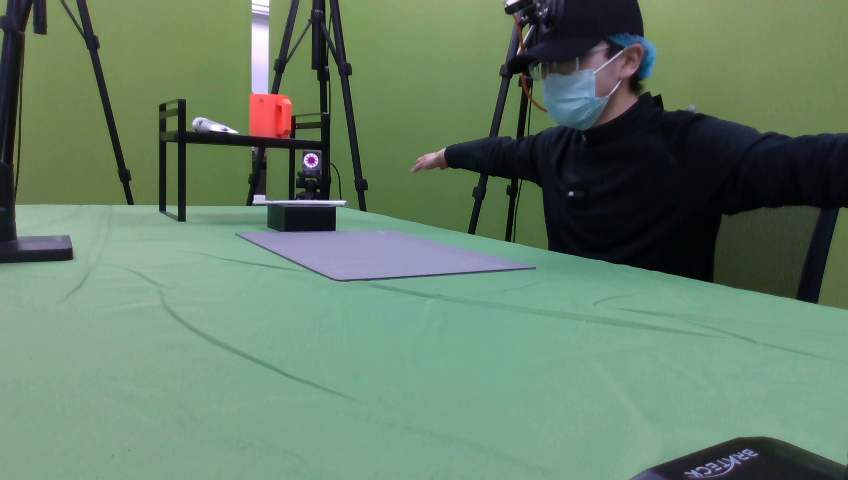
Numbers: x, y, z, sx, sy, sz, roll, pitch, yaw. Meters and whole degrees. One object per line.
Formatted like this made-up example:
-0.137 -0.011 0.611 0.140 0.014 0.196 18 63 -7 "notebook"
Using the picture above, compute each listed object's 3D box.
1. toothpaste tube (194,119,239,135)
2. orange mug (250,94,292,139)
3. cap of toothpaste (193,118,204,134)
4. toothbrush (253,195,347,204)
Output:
-0.451 -0.238 1.289 0.055 0.034 0.164 -8 16 -38 "toothpaste tube"
-0.339 -0.279 1.364 0.125 0.100 0.084 4 6 45 "orange mug"
-0.497 -0.255 1.350 0.037 0.037 0.011 -4 14 -38 "cap of toothpaste"
-0.234 -0.076 1.154 0.183 0.016 0.014 -1 5 -27 "toothbrush"
